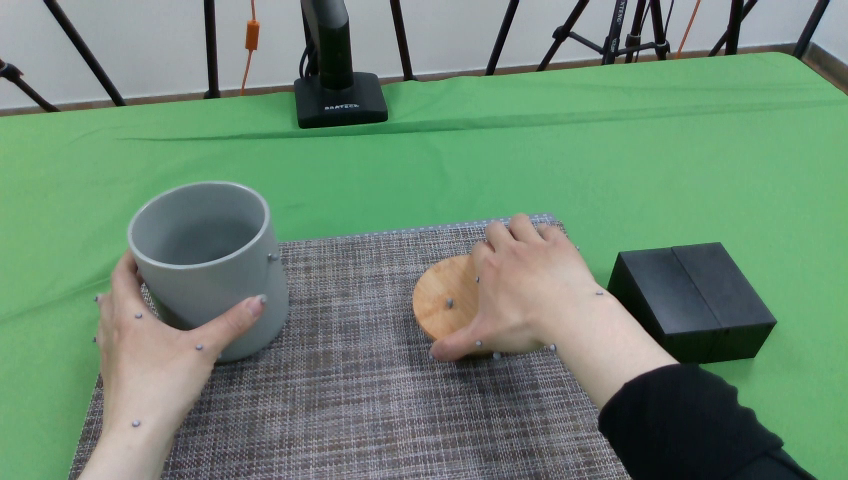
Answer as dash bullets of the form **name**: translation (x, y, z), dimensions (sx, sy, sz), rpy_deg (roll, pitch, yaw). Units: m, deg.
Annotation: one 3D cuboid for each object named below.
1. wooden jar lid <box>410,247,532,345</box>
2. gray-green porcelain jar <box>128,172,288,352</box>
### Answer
- **wooden jar lid**: translation (0.041, 0.051, 0.541), dimensions (0.108, 0.021, 0.107), rpy_deg (1, 47, -1)
- **gray-green porcelain jar**: translation (-0.173, 0.023, 0.509), dimensions (0.106, 0.127, 0.105), rpy_deg (1, 43, 0)
